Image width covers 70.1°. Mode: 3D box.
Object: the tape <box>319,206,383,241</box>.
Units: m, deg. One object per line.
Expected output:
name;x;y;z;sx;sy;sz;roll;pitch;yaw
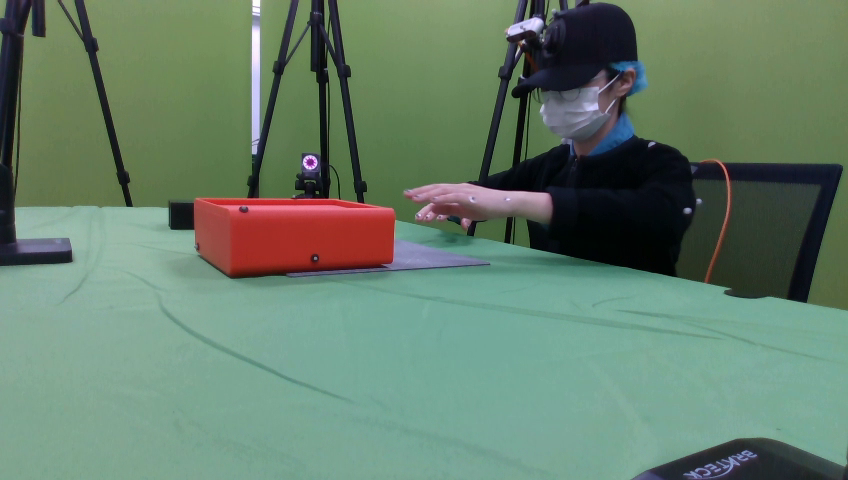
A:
tape;-0.129;-0.030;1.076;0.117;0.052;0.117;2;8;0

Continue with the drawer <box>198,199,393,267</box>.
drawer;-0.177;-0.014;0.817;0.213;0.073;0.193;-3;9;-31

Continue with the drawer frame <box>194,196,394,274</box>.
drawer frame;-0.178;-0.014;0.815;0.215;0.082;0.200;-4;9;-32
